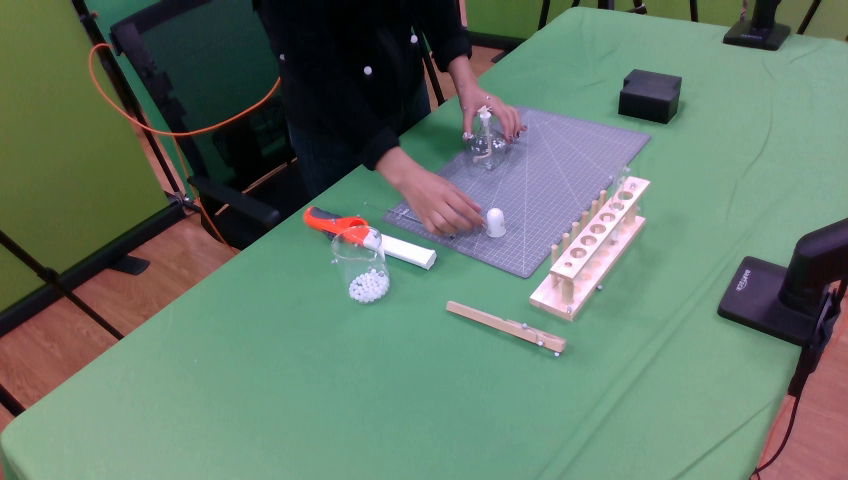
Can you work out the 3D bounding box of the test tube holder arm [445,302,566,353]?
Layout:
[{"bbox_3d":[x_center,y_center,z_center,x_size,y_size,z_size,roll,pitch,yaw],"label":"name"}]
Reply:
[{"bbox_3d":[0.107,0.117,0.824,0.177,0.015,0.013,16,12,27],"label":"test tube holder arm"}]

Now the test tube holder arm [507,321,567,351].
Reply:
[{"bbox_3d":[0.148,0.128,0.808,0.087,0.015,0.010,16,12,28],"label":"test tube holder arm"}]

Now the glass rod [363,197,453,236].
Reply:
[{"bbox_3d":[-0.031,-0.042,1.041,0.198,0.008,0.008,23,50,31],"label":"glass rod"}]

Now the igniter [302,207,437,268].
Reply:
[{"bbox_3d":[-0.100,-0.008,1.005,0.274,0.025,0.057,18,57,29],"label":"igniter"}]

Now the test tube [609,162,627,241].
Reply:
[{"bbox_3d":[0.277,-0.051,0.864,0.017,0.151,0.017,-6,47,7],"label":"test tube"}]

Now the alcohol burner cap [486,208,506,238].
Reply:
[{"bbox_3d":[0.116,-0.030,0.975,0.034,0.048,0.033,-5,41,5],"label":"alcohol burner cap"}]

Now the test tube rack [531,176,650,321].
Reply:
[{"bbox_3d":[0.246,0.002,0.884,0.066,0.085,0.243,22,49,32],"label":"test tube rack"}]

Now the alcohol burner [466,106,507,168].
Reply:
[{"bbox_3d":[0.114,-0.193,1.112,0.078,0.119,0.077,-4,41,4],"label":"alcohol burner"}]

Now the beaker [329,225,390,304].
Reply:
[{"bbox_3d":[-0.089,0.040,0.890,0.074,0.101,0.083,-32,45,-24],"label":"beaker"}]
